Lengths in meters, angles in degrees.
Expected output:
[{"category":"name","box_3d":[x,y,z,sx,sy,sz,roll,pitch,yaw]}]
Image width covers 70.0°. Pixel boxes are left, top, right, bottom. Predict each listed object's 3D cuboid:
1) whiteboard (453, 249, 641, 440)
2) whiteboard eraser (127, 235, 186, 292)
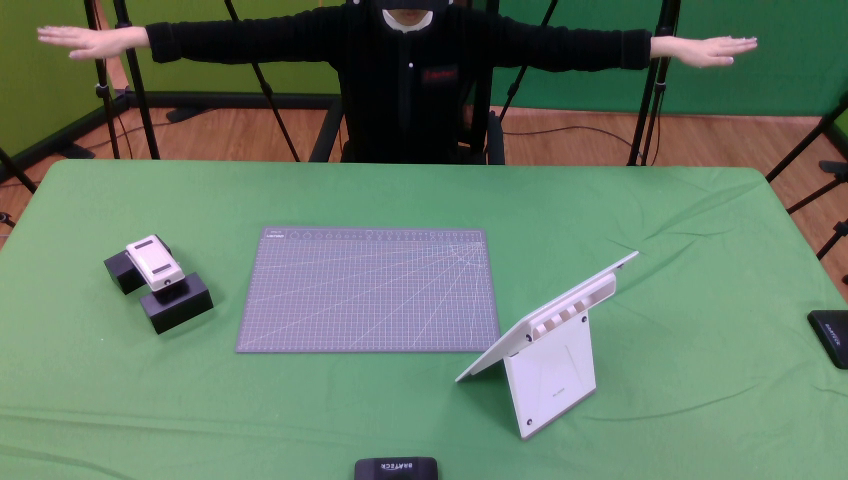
[{"category":"whiteboard","box_3d":[0.206,0.174,0.890,0.217,0.306,0.143,-25,72,-25]},{"category":"whiteboard eraser","box_3d":[-0.460,0.041,1.042,0.055,0.042,0.112,-31,55,-28]}]
